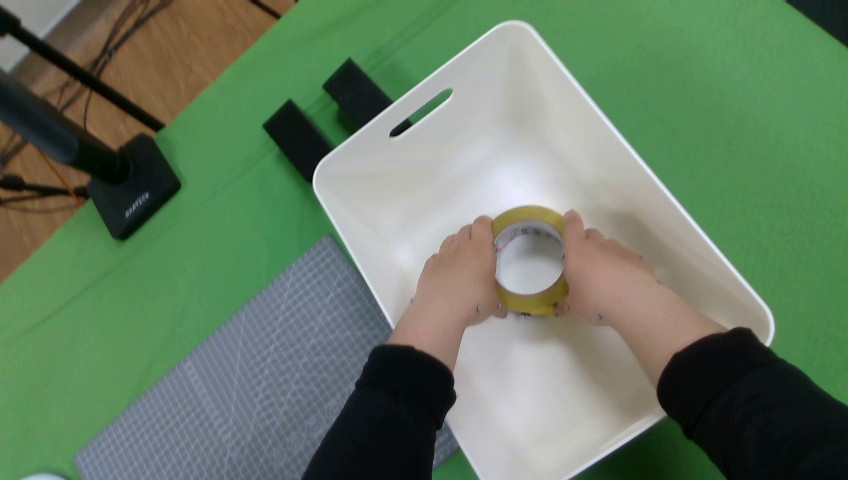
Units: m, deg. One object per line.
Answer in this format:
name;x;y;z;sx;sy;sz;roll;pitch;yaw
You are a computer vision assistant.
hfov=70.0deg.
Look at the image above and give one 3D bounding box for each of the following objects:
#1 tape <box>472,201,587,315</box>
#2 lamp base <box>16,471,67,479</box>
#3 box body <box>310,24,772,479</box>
tape;0.109;0.019;0.637;0.116;0.053;0.116;-5;75;18
lamp base;-0.530;0.360;0.702;0.178;0.181;0.160;-2;76;20
box body;0.095;0.019;0.590;0.254;0.161;0.361;-36;69;7
